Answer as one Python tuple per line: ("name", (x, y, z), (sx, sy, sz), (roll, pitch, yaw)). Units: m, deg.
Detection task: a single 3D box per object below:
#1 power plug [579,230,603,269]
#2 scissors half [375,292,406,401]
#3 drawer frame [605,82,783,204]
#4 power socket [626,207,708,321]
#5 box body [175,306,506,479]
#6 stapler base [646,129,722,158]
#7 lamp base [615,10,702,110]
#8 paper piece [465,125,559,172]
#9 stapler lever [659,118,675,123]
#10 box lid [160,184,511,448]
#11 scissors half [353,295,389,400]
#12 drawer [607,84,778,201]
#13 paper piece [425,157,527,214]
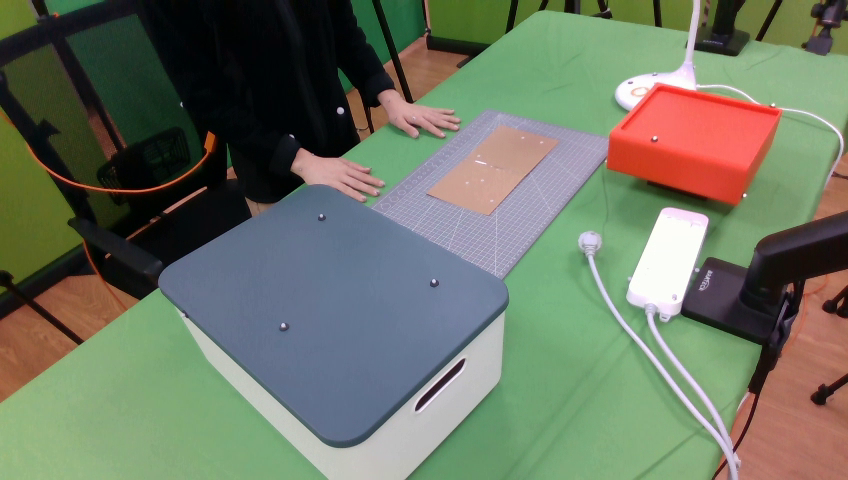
("power plug", (0.246, 0.018, 0.909), (0.035, 0.053, 0.072), (16, 65, 21))
("scissors half", (-0.048, 0.139, 0.817), (0.040, 0.013, 0.174), (-3, 45, 8))
("drawer frame", (0.441, -0.167, 0.995), (0.212, 0.083, 0.202), (23, 48, 30))
("power socket", (0.360, 0.026, 0.886), (0.072, 0.033, 0.227), (16, 46, 26))
("box body", (-0.105, 0.111, 0.751), (0.361, 0.161, 0.255), (28, 52, 35))
("stapler base", (0.439, -0.167, 1.023), (0.131, 0.024, 0.041), (-17, 24, -15))
("lamp base", (0.484, -0.364, 1.211), (0.180, 0.181, 0.159), (-15, 41, -14))
("paper piece", (0.171, -0.177, 1.168), (0.137, 0.009, 0.136), (21, 44, 31))
("stapler lever", (0.436, -0.192, 1.014), (0.118, 0.040, 0.026), (-15, 24, -16))
("box lid", (-0.114, 0.054, 0.705), (0.368, 0.015, 0.264), (29, 51, 34))
("scissors half", (-0.068, 0.142, 0.818), (0.040, 0.013, 0.174), (-19, 44, -1))
("drawer", (0.438, -0.167, 0.996), (0.210, 0.073, 0.195), (23, 48, 30))
("paper piece", (0.094, -0.102, 1.089), (0.134, 0.004, 0.136), (22, 48, 30))
